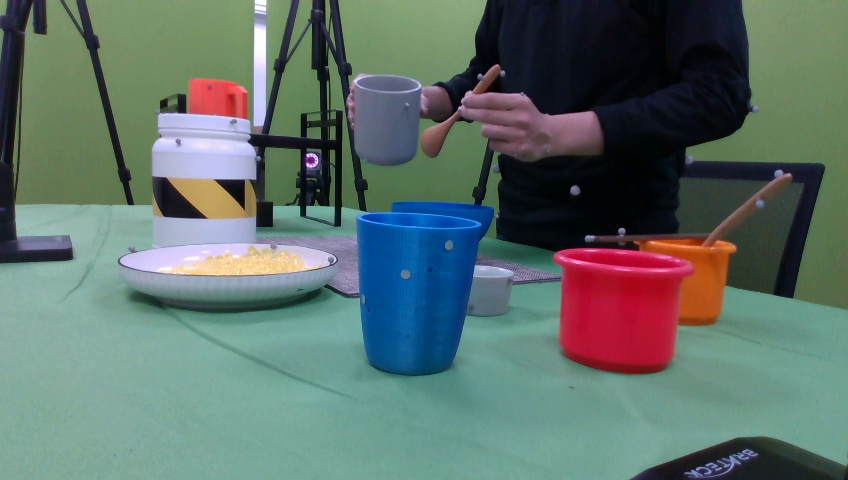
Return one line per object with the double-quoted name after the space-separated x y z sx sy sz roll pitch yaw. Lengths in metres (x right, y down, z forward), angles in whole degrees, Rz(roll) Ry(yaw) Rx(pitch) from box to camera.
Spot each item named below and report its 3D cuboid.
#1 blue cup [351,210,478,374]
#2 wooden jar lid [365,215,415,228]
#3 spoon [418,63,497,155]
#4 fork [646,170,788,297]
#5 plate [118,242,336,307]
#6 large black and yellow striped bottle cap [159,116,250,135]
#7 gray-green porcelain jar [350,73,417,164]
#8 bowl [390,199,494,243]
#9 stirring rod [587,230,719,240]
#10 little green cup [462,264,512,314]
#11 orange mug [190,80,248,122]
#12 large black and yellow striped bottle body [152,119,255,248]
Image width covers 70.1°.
-0.009 0.034 0.414 0.093 0.100 0.092 4 8 0 "blue cup"
-0.072 -0.040 1.291 0.108 0.020 0.108 3 8 0 "wooden jar lid"
0.043 -0.178 0.829 0.022 0.041 0.193 -22 -14 -43 "spoon"
0.256 0.004 0.543 0.028 0.018 0.207 3 -36 -9 "fork"
-0.194 0.033 0.615 0.209 0.038 0.209 2 7 0 "plate"
-0.292 -0.153 0.810 0.115 0.019 0.115 3 9 0 "large black and yellow striped bottle cap"
-0.066 -0.194 0.979 0.106 0.126 0.105 3 29 -1 "gray-green porcelain jar"
0.024 -0.015 0.871 0.151 0.077 0.151 3 7 0 "bowl"
0.226 -0.005 0.587 0.177 0.006 0.014 -2 10 -29 "stirring rod"
0.053 0.047 0.580 0.061 0.038 0.061 3 8 0 "little green cup"
-0.394 -0.257 1.172 0.126 0.100 0.084 1 6 25 "orange mug"
-0.296 -0.070 0.819 0.131 0.184 0.130 2 7 0 "large black and yellow striped bottle body"
